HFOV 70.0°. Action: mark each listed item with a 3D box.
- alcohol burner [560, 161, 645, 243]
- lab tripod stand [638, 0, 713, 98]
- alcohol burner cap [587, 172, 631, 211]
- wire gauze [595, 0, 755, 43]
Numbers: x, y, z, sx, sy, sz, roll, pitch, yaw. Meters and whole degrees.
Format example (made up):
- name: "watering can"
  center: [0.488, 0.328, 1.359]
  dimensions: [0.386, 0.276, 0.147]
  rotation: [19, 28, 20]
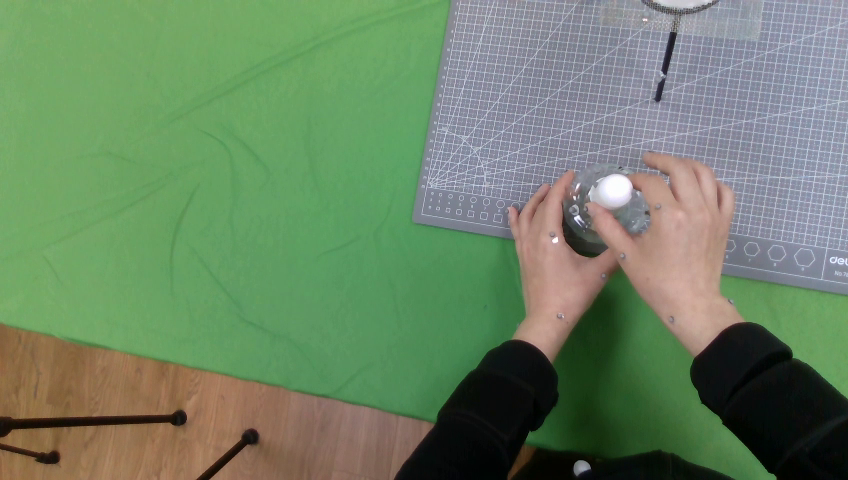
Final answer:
- name: "alcohol burner"
  center: [0.165, -0.037, 0.557]
  dimensions: [0.078, 0.119, 0.078]
  rotation: [-1, 86, 11]
- name: "lab tripod stand"
  center: [0.219, -0.219, 0.547]
  dimensions: [0.148, 0.132, 0.148]
  rotation: [-1, 87, 10]
- name: "alcohol burner cap"
  center: [0.157, -0.043, 0.511]
  dimensions: [0.034, 0.048, 0.034]
  rotation: [0, 87, 6]
- name: "wire gauze"
  center: [0.206, -0.225, 0.483]
  dimensions: [0.125, 0.011, 0.121]
  rotation: [9, 91, 10]
